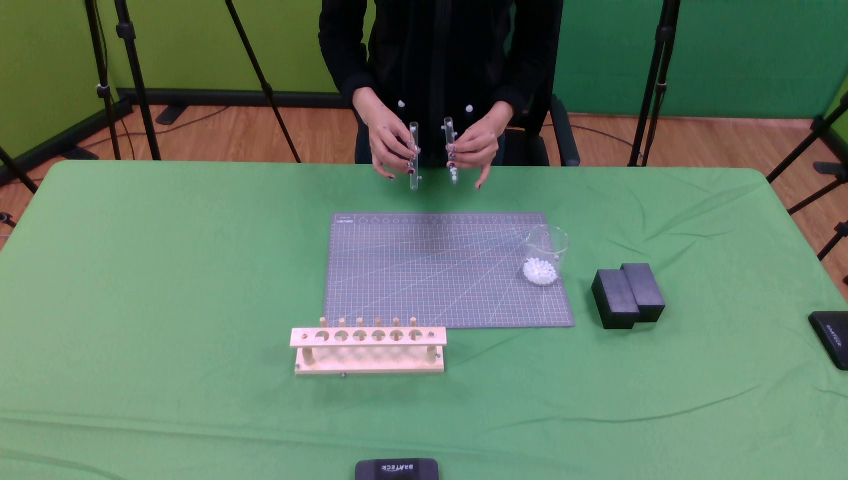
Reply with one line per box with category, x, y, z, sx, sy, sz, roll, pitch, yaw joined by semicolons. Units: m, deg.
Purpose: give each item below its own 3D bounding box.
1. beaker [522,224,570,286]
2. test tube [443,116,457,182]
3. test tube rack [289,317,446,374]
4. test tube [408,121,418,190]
beaker;0.221;0.032;1.129;0.084;0.101;0.073;-6;46;-9
test tube;0.049;-0.164;1.117;0.017;0.151;0.017;-4;49;5
test tube rack;-0.089;0.167;0.988;0.242;0.085;0.066;0;46;-4
test tube;-0.021;-0.151;1.106;0.017;0.151;0.017;1;45;-1
